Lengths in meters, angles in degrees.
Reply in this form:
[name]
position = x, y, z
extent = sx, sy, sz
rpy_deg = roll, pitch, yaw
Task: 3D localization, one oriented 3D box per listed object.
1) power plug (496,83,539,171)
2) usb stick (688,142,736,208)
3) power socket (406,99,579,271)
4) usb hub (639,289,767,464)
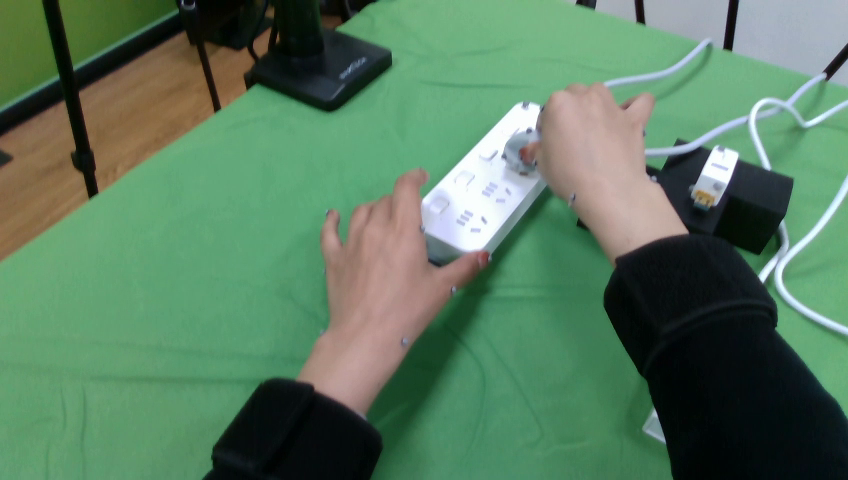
[power plug]
position = 0.083, -0.094, 0.532
extent = 0.035, 0.053, 0.072
rpy_deg = 22, 48, -11
[usb stick]
position = 0.227, -0.050, 0.481
extent = 0.021, 0.027, 0.059
rpy_deg = 26, 55, 18
[power socket]
position = 0.067, -0.057, 0.544
extent = 0.072, 0.033, 0.226
rpy_deg = 29, 53, 19
[usb hub]
position = 0.198, 0.090, 0.425
extent = 0.049, 0.025, 0.125
rpy_deg = 27, 53, 22
